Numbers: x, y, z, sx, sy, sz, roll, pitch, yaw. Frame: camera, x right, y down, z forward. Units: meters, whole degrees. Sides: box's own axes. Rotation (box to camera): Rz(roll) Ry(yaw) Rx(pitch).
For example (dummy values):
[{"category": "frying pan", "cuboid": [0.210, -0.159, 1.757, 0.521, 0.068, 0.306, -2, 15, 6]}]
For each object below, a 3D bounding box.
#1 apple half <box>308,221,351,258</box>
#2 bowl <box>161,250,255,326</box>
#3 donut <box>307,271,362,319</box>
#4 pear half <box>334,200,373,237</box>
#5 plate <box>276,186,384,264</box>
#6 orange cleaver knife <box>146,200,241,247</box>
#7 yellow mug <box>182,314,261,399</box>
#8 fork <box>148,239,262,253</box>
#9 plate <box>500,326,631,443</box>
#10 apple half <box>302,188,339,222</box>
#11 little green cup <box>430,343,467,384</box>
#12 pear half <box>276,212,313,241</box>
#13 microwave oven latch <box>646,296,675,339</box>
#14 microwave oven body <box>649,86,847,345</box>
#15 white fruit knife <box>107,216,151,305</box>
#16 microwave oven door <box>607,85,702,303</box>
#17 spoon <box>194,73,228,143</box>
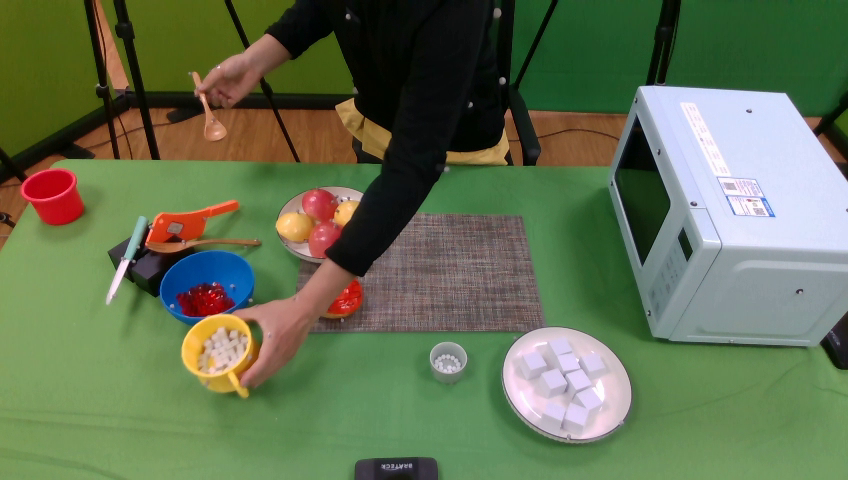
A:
[{"category": "apple half", "cuboid": [-0.180, -0.005, 1.150, 0.074, 0.053, 0.080, 14, 43, 9]}, {"category": "bowl", "cuboid": [-0.362, 0.097, 1.040, 0.151, 0.077, 0.150, 2, 45, -2]}, {"category": "donut", "cuboid": [-0.157, 0.097, 1.072, 0.099, 0.048, 0.098, 4, 45, -4]}, {"category": "pear half", "cuboid": [-0.147, -0.059, 1.209, 0.076, 0.056, 0.109, -16, 43, -25]}, {"category": "plate", "cuboid": [-0.184, -0.027, 1.195, 0.209, 0.038, 0.208, 2, 46, -2]}, {"category": "orange cleaver knife", "cuboid": [-0.435, -0.033, 1.157, 0.012, 0.077, 0.211, 31, 26, 19]}, {"category": "yellow mug", "cuboid": [-0.294, 0.181, 0.904, 0.100, 0.064, 0.130, -30, 62, -16]}, {"category": "fork", "cuboid": [-0.398, 0.008, 1.117, 0.208, 0.019, 0.028, -5, 34, -37]}, {"category": "plate", "cuboid": [0.224, 0.234, 0.978, 0.208, 0.039, 0.206, 2, 46, -2]}, {"category": "apple half", "cuboid": [-0.205, -0.076, 1.217, 0.081, 0.033, 0.081, 18, 46, -19]}, {"category": "little green cup", "cuboid": [0.039, 0.203, 0.993, 0.061, 0.039, 0.061, 2, 46, -2]}, {"category": "pear half", "cuboid": [-0.245, -0.035, 1.178, 0.070, 0.031, 0.088, 40, 41, 1]}, {"category": "microwave oven latch", "cuboid": [0.412, 0.134, 1.061, 0.030, 0.029, 0.078, 4, 45, 1]}, {"category": "microwave oven body", "cuboid": [0.567, -0.053, 1.118, 0.326, 0.261, 0.439, 2, 45, -1]}, {"category": "white fruit knife", "cuboid": [-0.518, 0.032, 1.066, 0.027, 0.016, 0.206, -18, 45, 19]}, {"category": "microwave oven door", "cuboid": [0.423, -0.094, 1.140, 0.039, 0.245, 0.353, 2, 46, -1]}, {"category": "spoon", "cuboid": [-0.426, -0.263, 1.195, 0.041, 0.022, 0.192, -21, 67, -9]}]
